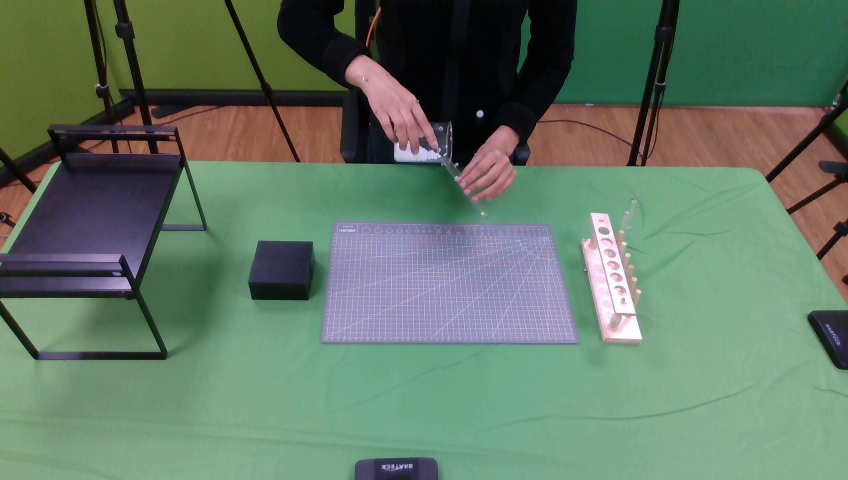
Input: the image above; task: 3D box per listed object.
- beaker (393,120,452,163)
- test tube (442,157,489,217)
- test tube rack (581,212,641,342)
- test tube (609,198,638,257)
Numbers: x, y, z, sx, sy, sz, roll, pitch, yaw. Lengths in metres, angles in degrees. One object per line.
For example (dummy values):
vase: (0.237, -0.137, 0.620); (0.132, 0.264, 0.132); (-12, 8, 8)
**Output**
beaker: (-0.005, -0.171, 1.062); (0.100, 0.084, 0.073); (1, 48, -4)
test tube: (0.080, -0.096, 1.133); (0.017, 0.151, 0.017); (-27, 34, 20)
test tube rack: (0.351, 0.063, 1.121); (0.067, 0.085, 0.241); (3, 46, -1)
test tube: (0.375, -0.021, 1.141); (0.017, 0.151, 0.017); (2, 45, -2)
